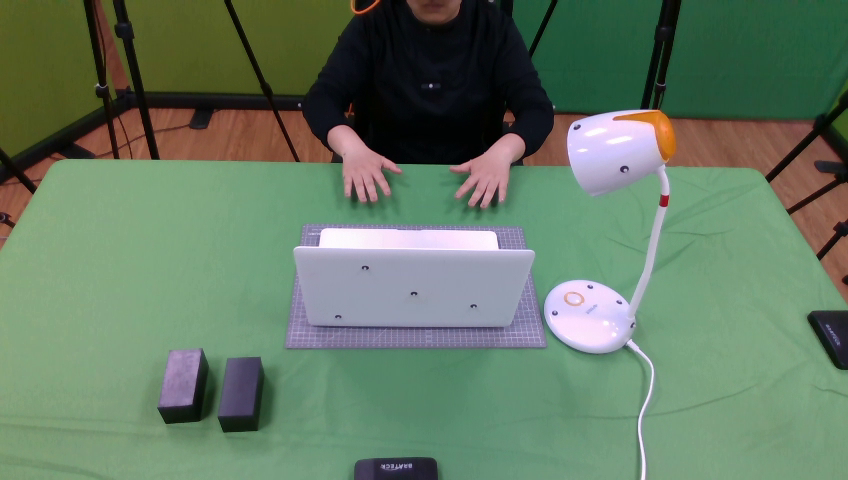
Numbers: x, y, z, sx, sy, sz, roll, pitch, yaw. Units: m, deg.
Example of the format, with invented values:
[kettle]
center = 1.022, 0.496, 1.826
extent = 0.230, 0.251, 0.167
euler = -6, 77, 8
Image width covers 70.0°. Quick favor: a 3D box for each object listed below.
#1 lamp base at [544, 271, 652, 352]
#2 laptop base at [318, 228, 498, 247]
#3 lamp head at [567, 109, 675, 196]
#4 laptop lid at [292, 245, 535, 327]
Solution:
[lamp base]
center = 0.310, 0.086, 1.029
extent = 0.178, 0.181, 0.160
euler = 32, 52, 21
[laptop base]
center = -0.028, 0.066, 1.134
extent = 0.355, 0.023, 0.234
euler = 1, 43, -4
[lamp head]
center = 0.272, -0.123, 0.818
extent = 0.122, 0.113, 0.112
euler = -9, 35, 37
[laptop lid]
center = -0.018, 0.080, 0.956
extent = 0.357, 0.243, 0.013
euler = 2, 54, -5
